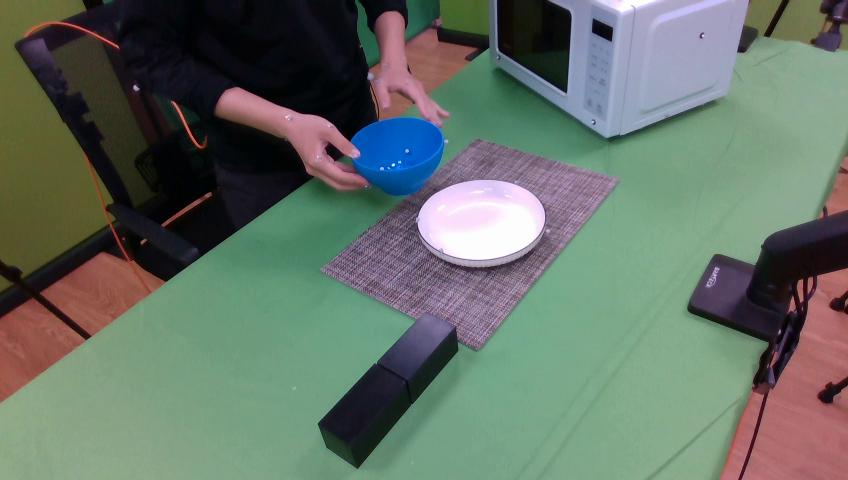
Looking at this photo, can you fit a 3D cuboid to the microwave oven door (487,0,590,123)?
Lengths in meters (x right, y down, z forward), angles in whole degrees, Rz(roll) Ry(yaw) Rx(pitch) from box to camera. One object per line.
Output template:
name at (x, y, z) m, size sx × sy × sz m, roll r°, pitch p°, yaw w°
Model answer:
microwave oven door at (0.232, -0.420, 1.230) m, size 0.039 × 0.245 × 0.352 m, roll -22°, pitch 43°, yaw -16°

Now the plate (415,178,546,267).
plate at (0.091, -0.026, 0.970) m, size 0.207 × 0.039 × 0.206 m, roll -4°, pitch 41°, yaw 4°

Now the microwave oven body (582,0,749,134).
microwave oven body at (0.382, -0.444, 1.246) m, size 0.327 × 0.261 × 0.437 m, roll -22°, pitch 42°, yaw -16°

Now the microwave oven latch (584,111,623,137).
microwave oven latch at (0.337, -0.222, 1.142) m, size 0.030 × 0.029 × 0.078 m, roll -21°, pitch 42°, yaw -14°

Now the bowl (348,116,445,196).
bowl at (-0.039, -0.123, 0.956) m, size 0.151 × 0.077 × 0.150 m, roll -3°, pitch 43°, yaw 4°
